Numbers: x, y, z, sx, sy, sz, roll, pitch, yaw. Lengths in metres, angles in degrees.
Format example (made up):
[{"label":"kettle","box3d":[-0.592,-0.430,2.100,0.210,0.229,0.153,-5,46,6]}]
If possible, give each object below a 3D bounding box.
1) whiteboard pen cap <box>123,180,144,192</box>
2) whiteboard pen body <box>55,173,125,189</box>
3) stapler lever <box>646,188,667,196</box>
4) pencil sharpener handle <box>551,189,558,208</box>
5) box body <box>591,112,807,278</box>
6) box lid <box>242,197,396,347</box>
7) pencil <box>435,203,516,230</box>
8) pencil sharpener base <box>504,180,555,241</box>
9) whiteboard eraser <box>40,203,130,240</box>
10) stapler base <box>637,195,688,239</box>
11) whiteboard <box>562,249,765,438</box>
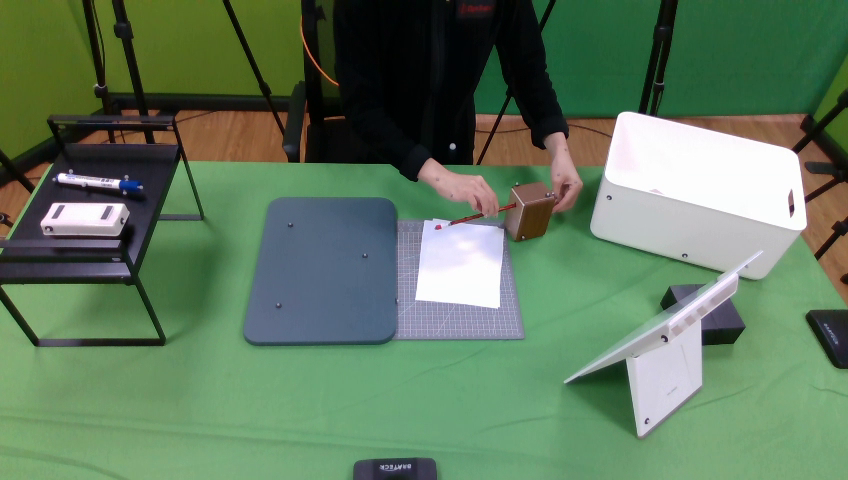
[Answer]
[{"label":"whiteboard pen cap","box3d":[-0.479,-0.089,0.993,0.033,0.018,0.018,7,46,14]},{"label":"whiteboard pen body","box3d":[-0.539,-0.095,0.998,0.141,0.017,0.017,6,46,6]},{"label":"stapler lever","box3d":[0.507,-0.075,1.262,0.027,0.040,0.117,-14,46,-19]},{"label":"pencil sharpener handle","box3d":[0.258,-0.082,1.219,0.031,0.068,0.036,-13,64,-17]},{"label":"box body","box3d":[0.540,-0.092,1.229,0.363,0.161,0.253,16,47,11]},{"label":"box lid","box3d":[-0.186,0.046,1.147,0.263,0.015,0.369,0,46,-3]},{"label":"pencil","box3d":[0.112,-0.049,1.163,0.194,0.012,0.012,-16,50,-14]},{"label":"pencil sharpener base","box3d":[0.212,-0.059,1.211,0.077,0.107,0.061,-13,48,-17]},{"label":"whiteboard eraser","box3d":[-0.513,-0.028,0.922,0.113,0.042,0.055,1,48,-3]},{"label":"stapler base","box3d":[0.507,-0.055,1.280,0.041,0.024,0.129,-14,47,-19]},{"label":"whiteboard","box3d":[0.386,0.175,0.905,0.217,0.306,0.143,-26,72,-26]}]
